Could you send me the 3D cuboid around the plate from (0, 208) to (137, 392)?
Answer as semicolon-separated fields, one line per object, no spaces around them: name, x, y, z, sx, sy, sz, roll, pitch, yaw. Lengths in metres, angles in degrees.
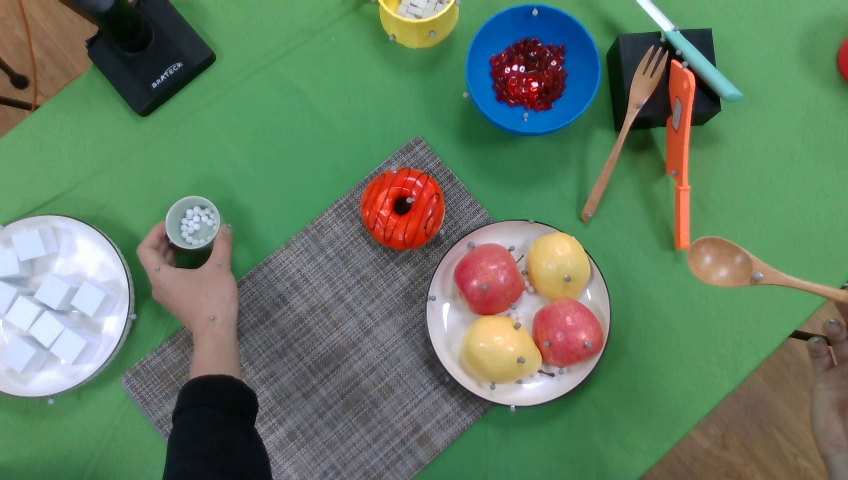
plate;-0.431;0.068;0.697;0.208;0.039;0.207;0;82;1

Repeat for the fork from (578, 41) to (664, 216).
fork;0.220;-0.122;0.690;0.028;0.018;0.208;18;103;-5

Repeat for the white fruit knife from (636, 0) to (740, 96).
white fruit knife;0.281;-0.240;0.692;0.027;0.016;0.206;-35;80;-33

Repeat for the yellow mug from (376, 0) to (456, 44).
yellow mug;-0.026;-0.301;0.727;0.131;0.064;0.099;17;83;4

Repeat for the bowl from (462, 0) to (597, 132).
bowl;0.117;-0.190;0.705;0.151;0.077;0.151;0;83;0

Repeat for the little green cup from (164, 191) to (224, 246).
little green cup;-0.264;-0.022;0.703;0.061;0.039;0.061;0;79;2

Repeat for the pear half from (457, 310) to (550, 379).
pear half;0.094;0.121;0.667;0.110;0.056;0.076;22;88;-4

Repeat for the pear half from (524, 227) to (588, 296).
pear half;0.146;0.030;0.678;0.070;0.031;0.088;-11;93;23

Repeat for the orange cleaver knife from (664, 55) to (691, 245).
orange cleaver knife;0.285;-0.101;0.689;0.012;0.077;0.212;-5;108;5

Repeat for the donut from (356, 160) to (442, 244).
donut;-0.028;-0.043;0.700;0.099;0.048;0.099;0;85;3

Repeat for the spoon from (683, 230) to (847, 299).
spoon;0.308;0.034;0.487;0.192;0.022;0.041;18;79;21

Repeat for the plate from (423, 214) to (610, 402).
plate;0.103;0.075;0.687;0.209;0.038;0.208;0;82;0

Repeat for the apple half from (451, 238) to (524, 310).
apple half;0.070;0.038;0.674;0.074;0.053;0.080;-23;86;-2

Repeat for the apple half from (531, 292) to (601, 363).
apple half;0.150;0.098;0.665;0.081;0.033;0.081;2;96;20
